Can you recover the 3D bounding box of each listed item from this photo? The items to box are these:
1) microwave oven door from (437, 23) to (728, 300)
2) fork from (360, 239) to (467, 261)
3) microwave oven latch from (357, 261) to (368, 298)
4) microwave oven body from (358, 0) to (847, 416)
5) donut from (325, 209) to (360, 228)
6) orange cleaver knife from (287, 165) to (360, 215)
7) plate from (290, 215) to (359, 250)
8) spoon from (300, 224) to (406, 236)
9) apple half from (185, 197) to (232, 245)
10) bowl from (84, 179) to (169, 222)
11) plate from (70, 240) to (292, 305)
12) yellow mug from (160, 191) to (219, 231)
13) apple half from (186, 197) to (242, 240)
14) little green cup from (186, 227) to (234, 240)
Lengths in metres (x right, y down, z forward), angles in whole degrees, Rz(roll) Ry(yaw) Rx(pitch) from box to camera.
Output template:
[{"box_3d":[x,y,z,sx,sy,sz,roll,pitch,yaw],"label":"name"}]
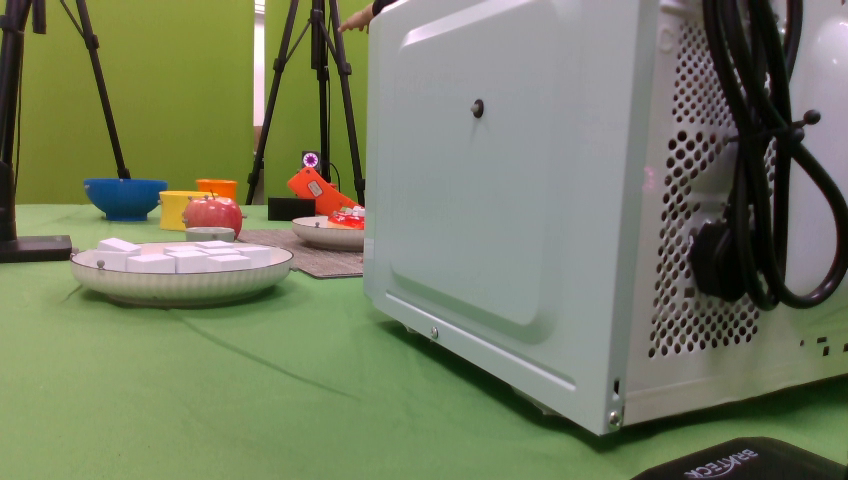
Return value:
[{"box_3d":[0.181,-0.072,0.621,0.358,0.243,0.039,-2,8,-29],"label":"microwave oven door"},{"box_3d":[-0.008,0.014,0.871,0.028,0.018,0.208,-6,-1,45],"label":"fork"},{"box_3d":[-0.019,0.033,0.530,0.079,0.029,0.030,-1,7,-26],"label":"microwave oven latch"},{"box_3d":[0.211,-0.047,0.474,0.444,0.260,0.324,-1,7,-28],"label":"microwave oven body"},{"box_3d":[-0.110,-0.024,0.974,0.099,0.048,0.099,5,7,0],"label":"donut"},{"box_3d":[-0.211,-0.092,1.382,0.212,0.077,0.012,33,1,-15],"label":"orange cleaver knife"},{"box_3d":[-0.110,-0.013,0.973,0.209,0.038,0.209,3,8,0],"label":"plate"},{"box_3d":[-0.127,-0.018,1.104,0.194,0.021,0.041,0,7,-16],"label":"spoon"},{"box_3d":[-0.337,-0.031,0.928,0.032,0.081,0.082,13,13,37],"label":"apple half"},{"box_3d":[-0.584,-0.078,1.194,0.151,0.077,0.151,3,8,0],"label":"bowl"},{"box_3d":[-0.242,0.031,0.618,0.208,0.039,0.207,2,8,0],"label":"plate"},{"box_3d":[-0.416,-0.053,1.103,0.130,0.064,0.100,7,8,27],"label":"yellow mug"},{"box_3d":[-0.306,-0.026,0.904,0.053,0.074,0.081,14,9,37],"label":"apple half"},{"box_3d":[-0.284,0.005,0.805,0.061,0.038,0.061,2,8,0],"label":"little green cup"}]
